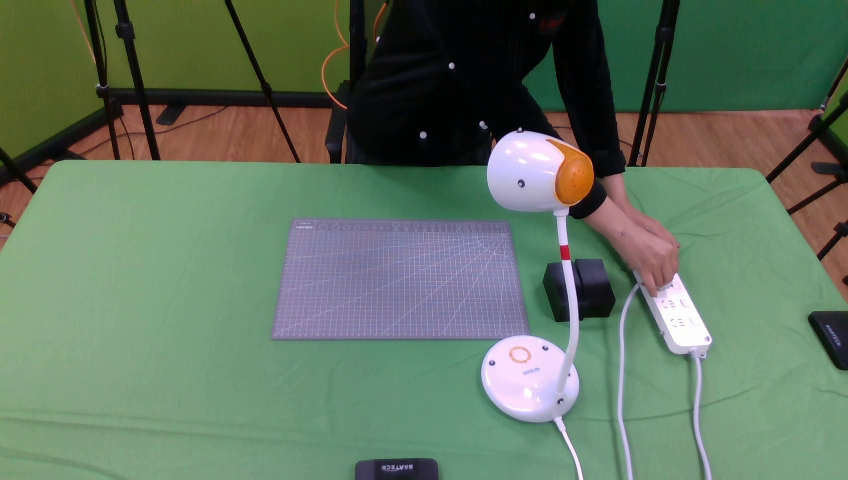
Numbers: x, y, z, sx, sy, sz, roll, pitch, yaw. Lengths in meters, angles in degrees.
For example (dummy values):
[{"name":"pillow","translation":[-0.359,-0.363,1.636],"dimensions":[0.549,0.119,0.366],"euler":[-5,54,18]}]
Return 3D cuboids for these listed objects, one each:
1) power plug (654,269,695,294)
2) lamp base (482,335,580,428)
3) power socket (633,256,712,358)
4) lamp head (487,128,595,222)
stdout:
[{"name":"power plug","translation":[0.450,0.084,1.099],"dimensions":[0.035,0.053,0.072],"euler":[-33,62,-1]},{"name":"lamp base","translation":[0.185,0.178,0.928],"dimensions":[0.161,0.181,0.178],"euler":[-22,53,-23]},{"name":"power socket","translation":[0.451,0.115,1.112],"dimensions":[0.072,0.033,0.225],"euler":[-3,46,-5]},{"name":"lamp head","translation":[0.160,-0.084,0.791],"dimensions":[0.112,0.113,0.122],"euler":[-24,28,-25]}]
